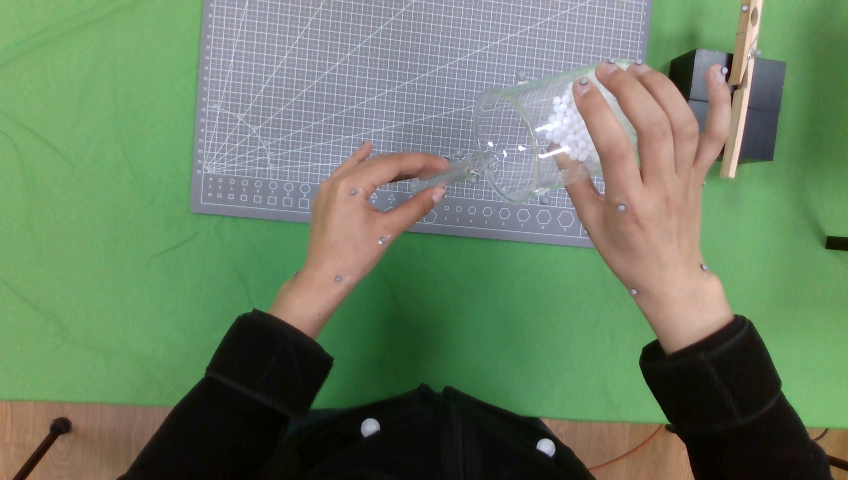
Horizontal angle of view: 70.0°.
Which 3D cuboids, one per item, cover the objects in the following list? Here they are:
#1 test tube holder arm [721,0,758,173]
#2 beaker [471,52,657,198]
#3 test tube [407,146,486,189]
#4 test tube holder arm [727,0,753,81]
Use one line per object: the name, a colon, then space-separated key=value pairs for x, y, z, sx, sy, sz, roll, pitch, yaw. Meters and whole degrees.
test tube holder arm: x=0.314 y=-0.156 z=0.602 sx=0.013 sy=0.015 sz=0.178 roll=3 pitch=95 yaw=-15
beaker: x=0.090 y=-0.076 z=0.394 sx=0.100 sy=0.084 sz=0.074 roll=-20 pitch=90 yaw=-19
test tube: x=0.014 y=-0.056 z=0.486 sx=0.017 sy=0.149 sz=0.017 roll=0 pitch=89 yaw=-18
test tube holder arm: x=0.312 y=-0.201 z=0.597 sx=0.010 sy=0.015 sz=0.088 roll=4 pitch=95 yaw=-15
